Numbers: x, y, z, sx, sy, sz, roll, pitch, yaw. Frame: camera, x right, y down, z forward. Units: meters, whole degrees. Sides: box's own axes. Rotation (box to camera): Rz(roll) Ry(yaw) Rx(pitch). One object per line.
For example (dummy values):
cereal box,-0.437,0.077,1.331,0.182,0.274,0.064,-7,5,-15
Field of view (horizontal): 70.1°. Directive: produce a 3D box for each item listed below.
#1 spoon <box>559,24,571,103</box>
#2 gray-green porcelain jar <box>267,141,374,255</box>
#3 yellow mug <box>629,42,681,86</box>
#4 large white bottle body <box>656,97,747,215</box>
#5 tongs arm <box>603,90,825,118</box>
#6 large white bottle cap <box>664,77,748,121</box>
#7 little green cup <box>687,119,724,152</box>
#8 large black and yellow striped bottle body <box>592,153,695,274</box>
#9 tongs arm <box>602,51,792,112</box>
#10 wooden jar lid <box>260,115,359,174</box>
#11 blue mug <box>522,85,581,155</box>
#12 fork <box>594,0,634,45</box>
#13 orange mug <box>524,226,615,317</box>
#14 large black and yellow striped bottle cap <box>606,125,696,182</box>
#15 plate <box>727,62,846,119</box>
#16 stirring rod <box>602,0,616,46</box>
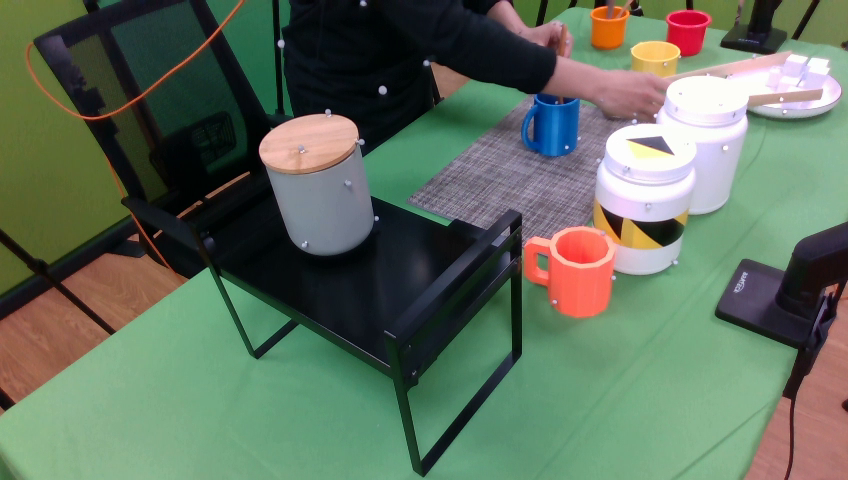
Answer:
spoon,0.257,-0.297,1.109,0.021,0.195,0.041,-11,36,5
gray-green porcelain jar,-0.117,-0.054,0.703,0.106,0.127,0.105,-4,40,4
yellow mug,0.495,-0.389,1.321,0.100,0.064,0.130,-14,40,-6
large white bottle body,0.431,-0.148,0.959,0.130,0.185,0.130,-4,41,4
tongs arm,0.546,-0.262,1.163,0.386,0.028,0.028,-1,49,18
large white bottle cap,0.421,-0.212,0.905,0.115,0.018,0.114,-4,40,4
little green cup,0.514,-0.191,1.109,0.061,0.039,0.061,-5,40,5
large black and yellow striped bottle body,0.313,-0.056,0.872,0.131,0.185,0.130,-4,41,4
tongs arm,0.552,-0.320,1.224,0.384,0.027,0.050,-10,44,7
wooden jar lid,-0.124,-0.101,0.662,0.108,0.021,0.108,-4,41,4
blue mug,0.233,-0.219,1.127,0.117,0.106,0.081,-22,43,-15
fork,0.484,-0.552,1.447,0.207,0.019,0.028,-51,47,17
orange mug,0.201,0.039,0.845,0.125,0.101,0.083,18,46,21
large black and yellow striped bottle cap,0.305,-0.119,0.816,0.115,0.019,0.114,-5,41,5
plate,0.710,-0.292,1.198,0.207,0.039,0.206,-4,40,4
stirring rod,0.452,-0.554,1.464,0.014,0.006,0.176,11,86,15
